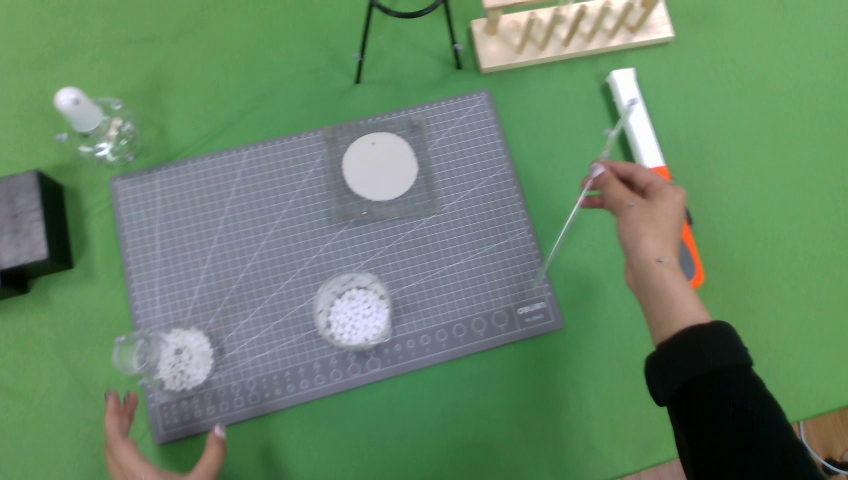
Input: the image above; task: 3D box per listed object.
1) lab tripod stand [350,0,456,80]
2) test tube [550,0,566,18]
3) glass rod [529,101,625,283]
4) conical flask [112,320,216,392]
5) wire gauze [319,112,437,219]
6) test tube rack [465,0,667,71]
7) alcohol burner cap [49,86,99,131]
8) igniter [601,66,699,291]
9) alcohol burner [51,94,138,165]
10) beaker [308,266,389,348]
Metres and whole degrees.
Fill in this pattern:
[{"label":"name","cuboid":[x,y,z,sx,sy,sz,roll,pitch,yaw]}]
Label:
[{"label":"lab tripod stand","cuboid":[-0.029,-0.251,0.677,0.148,0.132,0.147,1,79,-2]},{"label":"test tube","cuboid":[0.158,-0.292,0.668,0.017,0.151,0.017,0,77,0]},{"label":"glass rod","cuboid":[0.148,-0.043,0.597,0.008,0.008,0.200,25,108,3]},{"label":"conical flask","cuboid":[-0.255,0.109,0.587,0.075,0.122,0.075,1,77,-2]},{"label":"wire gauze","cuboid":[-0.054,-0.086,0.700,0.125,0.011,0.121,-7,77,-7]},{"label":"test tube rack","cuboid":[0.176,-0.270,0.715,0.242,0.085,0.066,-11,77,-5]},{"label":"alcohol burner cap","cuboid":[-0.354,-0.135,0.609,0.034,0.048,0.033,1,71,-1]},{"label":"igniter","cuboid":[0.262,-0.076,0.704,0.057,0.025,0.275,-11,78,-15]},{"label":"alcohol burner","cuboid":[-0.355,-0.125,0.643,0.078,0.119,0.077,0,78,-1]},{"label":"beaker","cuboid":[-0.069,0.074,0.616,0.084,0.100,0.074,38,79,6]}]
